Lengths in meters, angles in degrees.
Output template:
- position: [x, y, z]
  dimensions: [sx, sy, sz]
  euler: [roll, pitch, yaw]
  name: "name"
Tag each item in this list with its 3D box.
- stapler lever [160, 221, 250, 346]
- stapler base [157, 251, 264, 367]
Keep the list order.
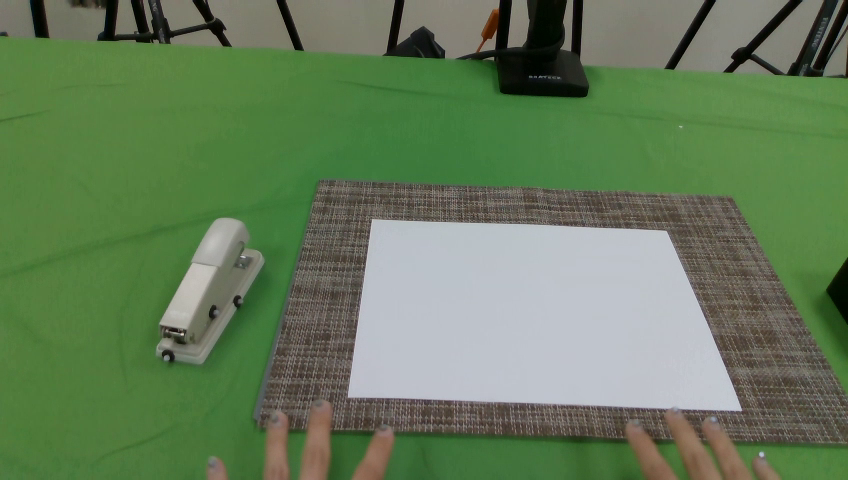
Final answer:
- position: [-0.177, 0.031, 0.497]
  dimensions: [0.027, 0.040, 0.117]
  euler: [9, 42, 8]
  name: "stapler lever"
- position: [-0.179, 0.048, 0.515]
  dimensions: [0.041, 0.024, 0.129]
  euler: [9, 43, 8]
  name: "stapler base"
